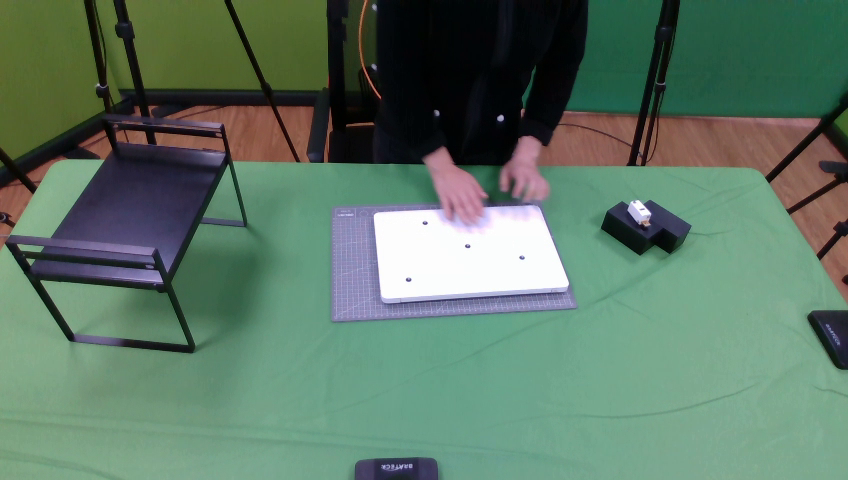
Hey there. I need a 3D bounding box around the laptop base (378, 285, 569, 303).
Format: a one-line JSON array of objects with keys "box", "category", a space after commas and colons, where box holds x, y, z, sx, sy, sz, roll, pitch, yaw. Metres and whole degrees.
[{"box": [0.083, 0.024, 1.181, 0.355, 0.023, 0.234, -3, 43, -7], "category": "laptop base"}]

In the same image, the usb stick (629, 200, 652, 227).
[{"box": [0.433, -0.051, 1.203, 0.021, 0.027, 0.059, -11, 50, -14], "category": "usb stick"}]

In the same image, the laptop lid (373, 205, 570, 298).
[{"box": [0.083, 0.014, 1.174, 0.357, 0.013, 0.240, -2, 44, -6], "category": "laptop lid"}]
